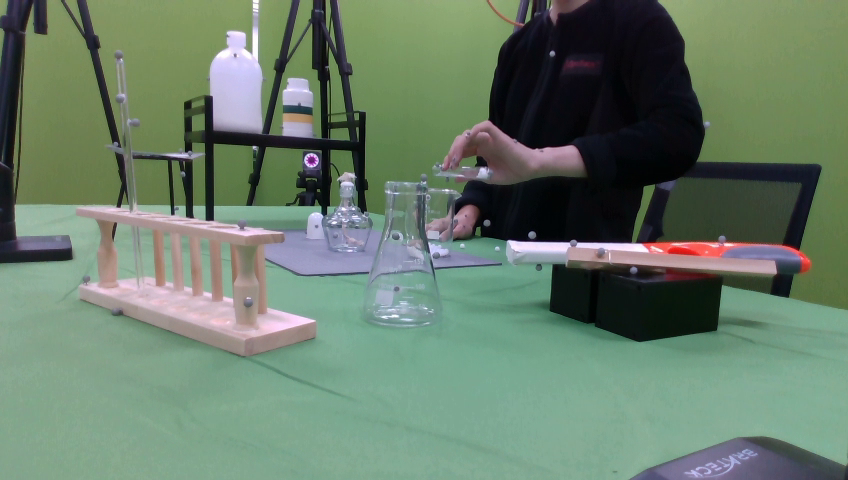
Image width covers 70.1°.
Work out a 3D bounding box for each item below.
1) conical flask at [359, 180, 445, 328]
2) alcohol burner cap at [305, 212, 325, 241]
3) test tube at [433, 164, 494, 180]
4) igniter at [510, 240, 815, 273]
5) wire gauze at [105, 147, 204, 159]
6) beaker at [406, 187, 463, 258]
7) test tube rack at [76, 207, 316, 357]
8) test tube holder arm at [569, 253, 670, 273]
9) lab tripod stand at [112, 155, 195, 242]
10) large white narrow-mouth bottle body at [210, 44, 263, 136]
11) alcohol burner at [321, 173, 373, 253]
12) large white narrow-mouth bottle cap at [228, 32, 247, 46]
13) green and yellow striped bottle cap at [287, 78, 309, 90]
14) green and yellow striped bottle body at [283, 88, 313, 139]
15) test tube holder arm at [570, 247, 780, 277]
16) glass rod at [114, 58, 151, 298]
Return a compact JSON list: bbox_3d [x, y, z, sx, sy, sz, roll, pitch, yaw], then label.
[{"bbox_3d":[-0.017,0.010,0.522,0.075,0.122,0.075,2,7,0],"label":"conical flask"},{"bbox_3d":[-0.185,-0.023,1.027,0.034,0.048,0.034,2,7,0],"label":"alcohol burner cap"},{"bbox_3d":[0.050,-0.092,0.807,0.017,0.017,0.149,-1,9,-25],"label":"test tube"},{"bbox_3d":[0.220,0.015,0.565,0.277,0.025,0.057,2,16,0],"label":"igniter"},{"bbox_3d":[-0.407,-0.131,0.929,0.125,0.011,0.121,2,5,-11],"label":"wire gauze"},{"bbox_3d":[0.013,-0.026,0.892,0.084,0.100,0.074,2,8,-2],"label":"beaker"},{"bbox_3d":[-0.196,0.023,0.500,0.241,0.085,0.067,8,9,36],"label":"test tube rack"},{"bbox_3d":[0.172,0.019,0.532,0.088,0.015,0.010,3,-23,3],"label":"test tube holder arm"},{"bbox_3d":[-0.405,-0.064,0.931,0.148,0.131,0.148,1,6,0],"label":"lab tripod stand"},{"bbox_3d":[-0.369,-0.305,1.194,0.102,0.194,0.102,3,8,0],"label":"large white narrow-mouth bottle body"},{"bbox_3d":[-0.115,-0.041,0.905,0.078,0.119,0.078,1,6,0],"label":"alcohol burner"},{"bbox_3d":[-0.364,-0.391,1.180,0.038,0.024,0.037,3,8,0],"label":"large white narrow-mouth bottle cap"},{"bbox_3d":[-0.265,-0.326,1.268,0.045,0.020,0.045,4,6,0],"label":"green and yellow striped bottle cap"},{"bbox_3d":[-0.266,-0.275,1.275,0.063,0.119,0.063,3,7,0],"label":"green and yellow striped bottle body"},{"bbox_3d":[0.217,0.019,0.525,0.178,0.015,0.013,3,-23,3],"label":"test tube holder arm"},{"bbox_3d":[-0.236,-0.044,0.492,0.008,0.199,0.008,0,15,0],"label":"glass rod"}]
